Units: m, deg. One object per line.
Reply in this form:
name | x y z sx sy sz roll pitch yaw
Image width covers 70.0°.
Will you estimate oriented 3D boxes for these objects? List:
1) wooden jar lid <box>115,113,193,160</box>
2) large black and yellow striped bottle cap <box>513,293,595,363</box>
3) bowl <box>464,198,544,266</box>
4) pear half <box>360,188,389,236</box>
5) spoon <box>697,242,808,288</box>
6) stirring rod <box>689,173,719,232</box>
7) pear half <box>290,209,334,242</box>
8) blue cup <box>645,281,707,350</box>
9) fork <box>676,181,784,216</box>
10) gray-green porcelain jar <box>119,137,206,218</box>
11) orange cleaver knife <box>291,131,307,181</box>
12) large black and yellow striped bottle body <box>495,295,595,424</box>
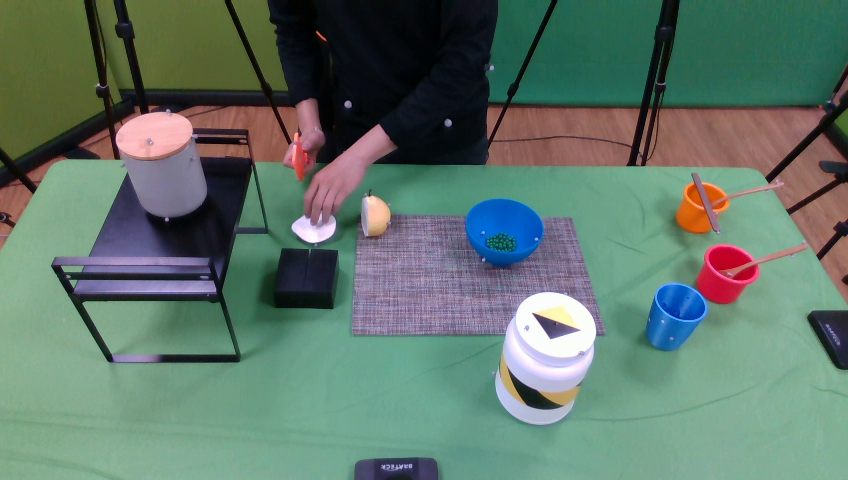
wooden jar lid | -0.399 -0.151 0.900 0.108 0.021 0.107 3 46 -3
large black and yellow striped bottle cap | 0.186 0.123 0.863 0.115 0.019 0.114 3 45 -3
bowl | 0.149 -0.004 1.168 0.151 0.077 0.150 2 46 -2
pear half | -0.096 -0.060 1.181 0.056 0.110 0.076 -13 52 -17
spoon | 0.601 0.045 1.115 0.194 0.022 0.041 -29 35 30
stirring rod | 0.565 -0.080 1.225 0.014 0.006 0.175 3 46 1
pear half | -0.218 -0.023 1.194 0.088 0.031 0.070 -4 60 12
blue cup | 0.425 0.136 1.042 0.093 0.101 0.092 1 44 -1
fork | 0.618 -0.083 1.235 0.019 0.207 0.028 55 40 -15
gray-green porcelain jar | -0.403 -0.106 0.946 0.106 0.127 0.105 3 46 -2
orange cleaver knife | -0.248 -0.156 1.205 0.012 0.211 0.077 2 85 -5
large black and yellow striped bottle body | 0.183 0.182 0.923 0.131 0.185 0.130 2 46 -2
